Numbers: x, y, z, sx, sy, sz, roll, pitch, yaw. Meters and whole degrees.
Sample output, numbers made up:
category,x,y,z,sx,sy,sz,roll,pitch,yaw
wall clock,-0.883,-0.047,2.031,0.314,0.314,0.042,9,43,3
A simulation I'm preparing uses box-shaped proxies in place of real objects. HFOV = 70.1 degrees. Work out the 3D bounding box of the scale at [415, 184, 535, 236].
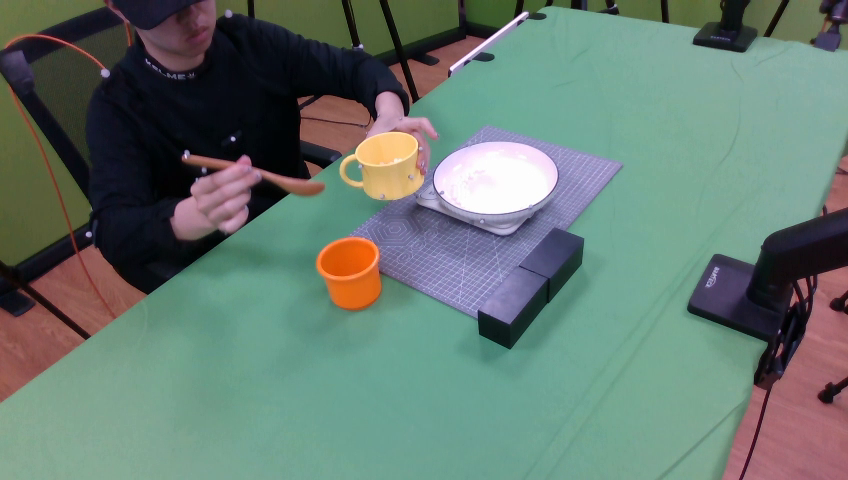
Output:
category,x,y,z,sx,sy,sz,roll,pitch,yaw
scale,0.099,-0.080,1.035,0.199,0.032,0.149,23,48,31

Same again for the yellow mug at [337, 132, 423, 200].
category,x,y,z,sx,sy,sz,roll,pitch,yaw
yellow mug,-0.071,-0.114,0.945,0.131,0.064,0.099,-10,39,-1

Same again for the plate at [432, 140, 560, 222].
category,x,y,z,sx,sy,sz,roll,pitch,yaw
plate,0.118,-0.094,0.999,0.209,0.038,0.208,-5,41,4

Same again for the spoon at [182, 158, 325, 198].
category,x,y,z,sx,sy,sz,roll,pitch,yaw
spoon,-0.223,-0.083,0.809,0.195,0.041,0.021,14,61,-32
